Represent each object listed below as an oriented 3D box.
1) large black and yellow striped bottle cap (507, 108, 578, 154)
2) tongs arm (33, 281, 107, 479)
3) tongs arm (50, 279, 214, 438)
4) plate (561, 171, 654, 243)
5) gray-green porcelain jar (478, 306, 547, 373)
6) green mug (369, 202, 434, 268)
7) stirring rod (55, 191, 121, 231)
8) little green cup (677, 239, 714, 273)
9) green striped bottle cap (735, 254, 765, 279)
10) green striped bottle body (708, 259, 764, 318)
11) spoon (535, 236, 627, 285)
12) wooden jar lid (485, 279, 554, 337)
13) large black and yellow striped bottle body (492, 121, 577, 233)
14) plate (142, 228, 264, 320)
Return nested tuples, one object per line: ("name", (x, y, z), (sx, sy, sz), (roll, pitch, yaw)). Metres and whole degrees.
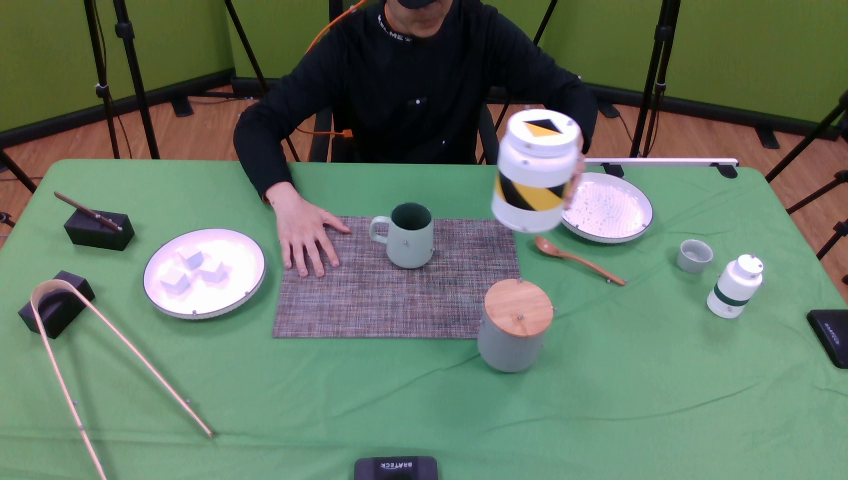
("large black and yellow striped bottle cap", (0.195, -0.181, 0.999), (0.115, 0.019, 0.114), (0, 43, 0))
("tongs arm", (-0.517, 0.214, 0.910), (0.051, 0.026, 0.383), (-29, 63, -27))
("tongs arm", (-0.459, 0.178, 0.949), (0.386, 0.028, 0.028), (37, 60, 17))
("plate", (0.374, -0.066, 1.274), (0.209, 0.038, 0.208), (2, 46, -2))
("gray-green porcelain jar", (0.144, 0.148, 0.989), (0.106, 0.127, 0.105), (2, 50, -2))
("green mug", (-0.042, -0.010, 1.141), (0.125, 0.105, 0.092), (8, 47, 4))
("stirring rod", (-0.632, -0.055, 1.138), (0.175, 0.014, 0.006), (24, 50, 19))
("little green cup", (0.530, 0.033, 1.190), (0.061, 0.039, 0.061), (2, 46, -2))
("green striped bottle cap", (0.566, 0.046, 1.051), (0.044, 0.020, 0.044), (0, 45, 0))
("green striped bottle body", (0.563, 0.081, 1.089), (0.063, 0.120, 0.063), (2, 46, -2))
("spoon", (0.304, 0.040, 1.178), (0.193, 0.022, 0.041), (25, 35, 20))
("wooden jar lid", (0.147, 0.108, 0.941), (0.108, 0.021, 0.107), (4, 47, -4))
("large black and yellow striped bottle body", (0.191, -0.119, 1.054), (0.131, 0.185, 0.130), (1, 42, -1))
("plate", (-0.394, 0.064, 1.095), (0.208, 0.039, 0.206), (2, 46, -2))
